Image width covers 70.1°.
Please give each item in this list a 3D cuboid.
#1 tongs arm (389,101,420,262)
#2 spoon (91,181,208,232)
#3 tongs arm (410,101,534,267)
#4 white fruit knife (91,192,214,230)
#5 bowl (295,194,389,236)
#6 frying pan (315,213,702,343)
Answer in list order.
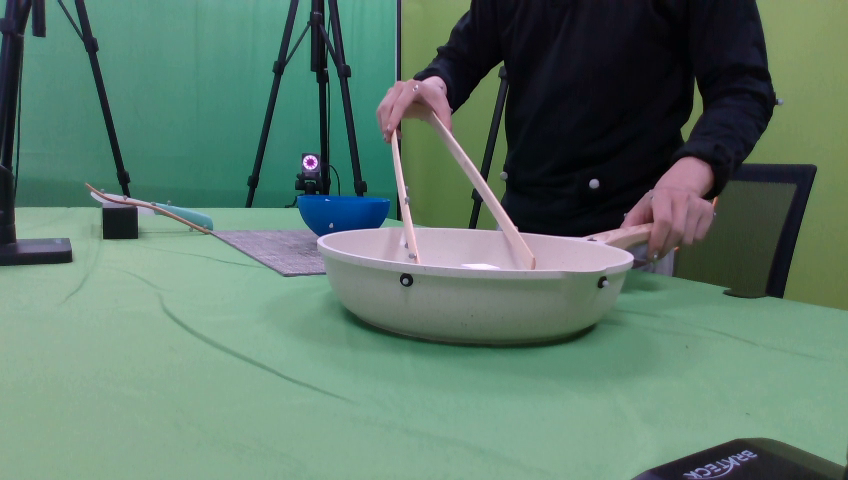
[{"bbox_3d":[-0.014,-0.082,0.764,0.051,0.026,0.383,-4,38,-9],"label":"tongs arm"},{"bbox_3d":[-0.461,-0.053,1.023,0.195,0.021,0.041,21,24,-24],"label":"spoon"},{"bbox_3d":[0.052,-0.087,0.779,0.028,0.028,0.386,-12,41,-14],"label":"tongs arm"},{"bbox_3d":[-0.477,-0.055,1.077,0.208,0.027,0.016,15,-5,-30],"label":"white fruit knife"},{"bbox_3d":[-0.132,-0.032,0.980,0.151,0.077,0.151,2,7,0],"label":"bowl"},{"bbox_3d":[0.133,0.013,0.629,0.490,0.102,0.305,-11,14,-29],"label":"frying pan"}]
